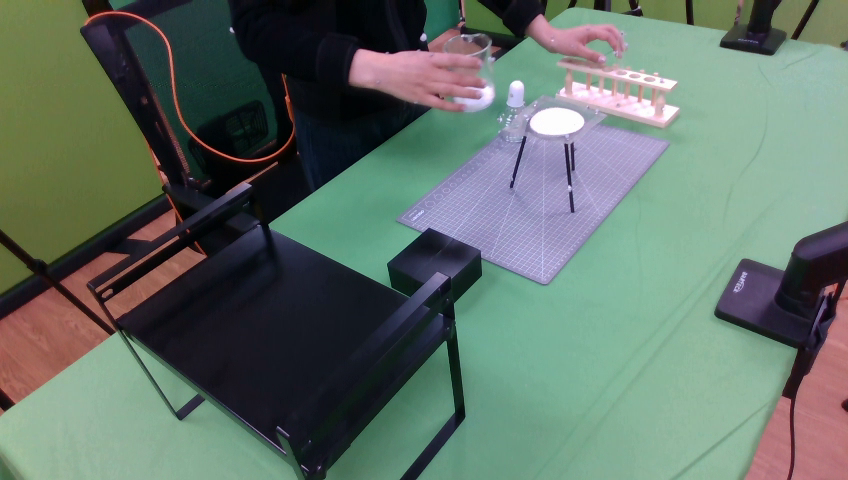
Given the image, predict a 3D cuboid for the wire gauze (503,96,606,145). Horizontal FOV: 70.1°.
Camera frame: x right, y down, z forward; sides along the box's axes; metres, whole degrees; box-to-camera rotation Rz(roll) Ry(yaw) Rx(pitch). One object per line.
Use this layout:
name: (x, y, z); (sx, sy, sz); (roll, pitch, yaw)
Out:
wire gauze: (0.211, -0.192, 0.975); (0.120, 0.011, 0.125); (24, 49, 32)

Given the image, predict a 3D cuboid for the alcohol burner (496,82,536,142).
alcohol burner: (0.178, -0.250, 1.167); (0.078, 0.119, 0.077); (-4, 42, 4)

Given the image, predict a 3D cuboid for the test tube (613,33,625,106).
test tube: (0.380, -0.330, 1.180); (0.017, 0.151, 0.017); (-7, 41, 6)

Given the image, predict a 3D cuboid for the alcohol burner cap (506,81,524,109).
alcohol burner cap: (0.173, -0.277, 1.144); (0.034, 0.048, 0.033); (0, 39, 1)

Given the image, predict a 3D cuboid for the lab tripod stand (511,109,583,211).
lab tripod stand: (0.220, -0.138, 1.014); (0.148, 0.132, 0.147); (-3, 41, 3)

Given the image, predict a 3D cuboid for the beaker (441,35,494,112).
beaker: (0.071, -0.261, 0.952); (0.074, 0.101, 0.083); (-2, 43, 12)

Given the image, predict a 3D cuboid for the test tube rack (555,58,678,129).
test tube rack: (0.390, -0.307, 1.229); (0.240, 0.085, 0.067); (25, 51, 33)
